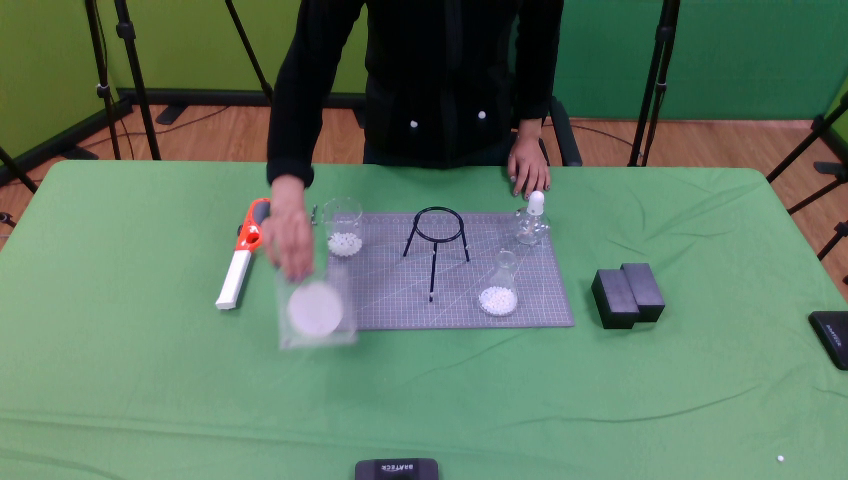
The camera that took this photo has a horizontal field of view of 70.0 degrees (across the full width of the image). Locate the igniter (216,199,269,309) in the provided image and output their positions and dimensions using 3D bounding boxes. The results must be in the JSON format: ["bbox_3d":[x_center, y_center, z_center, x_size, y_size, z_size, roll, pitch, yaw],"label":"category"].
[{"bbox_3d":[-0.342,0.017,1.153,0.057,0.025,0.275,-4,45,7],"label":"igniter"}]

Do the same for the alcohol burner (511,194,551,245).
[{"bbox_3d":[0.215,-0.048,1.196,0.078,0.119,0.077,4,46,-4],"label":"alcohol burner"}]

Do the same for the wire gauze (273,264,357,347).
[{"bbox_3d":[-0.168,0.100,0.926,0.125,0.011,0.121,-5,90,9],"label":"wire gauze"}]

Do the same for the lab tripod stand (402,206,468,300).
[{"bbox_3d":[0.023,0.013,1.108,0.148,0.132,0.147,3,44,-2],"label":"lab tripod stand"}]

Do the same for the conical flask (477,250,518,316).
[{"bbox_3d":[0.136,0.073,1.067,0.075,0.122,0.075,2,46,-2],"label":"conical flask"}]

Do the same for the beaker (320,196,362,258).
[{"bbox_3d":[-0.157,-0.020,1.150,0.084,0.101,0.073,-30,55,-28],"label":"beaker"}]

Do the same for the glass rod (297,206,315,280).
[{"bbox_3d":[-0.231,0.001,1.191,0.008,0.008,0.198,2,46,-1],"label":"glass rod"}]

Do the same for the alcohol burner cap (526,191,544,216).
[{"bbox_3d":[0.216,-0.072,1.170,0.034,0.048,0.033,-1,42,1],"label":"alcohol burner cap"}]
